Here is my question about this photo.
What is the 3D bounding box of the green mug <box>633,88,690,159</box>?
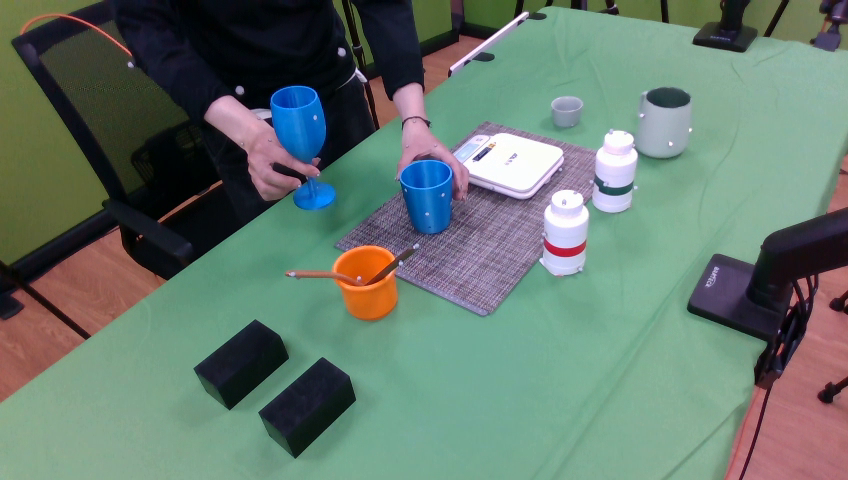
[{"bbox_3d":[0.423,-0.217,1.099,0.093,0.105,0.124,-16,41,-10],"label":"green mug"}]

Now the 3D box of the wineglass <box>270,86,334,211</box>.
[{"bbox_3d":[-0.173,-0.129,0.869,0.074,0.173,0.073,-1,43,2],"label":"wineglass"}]

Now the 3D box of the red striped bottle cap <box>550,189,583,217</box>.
[{"bbox_3d":[0.199,-0.052,0.843,0.044,0.018,0.044,-2,42,2],"label":"red striped bottle cap"}]

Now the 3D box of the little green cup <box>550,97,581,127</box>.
[{"bbox_3d":[0.284,-0.255,1.213,0.061,0.039,0.061,-4,41,4],"label":"little green cup"}]

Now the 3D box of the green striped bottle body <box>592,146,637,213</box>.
[{"bbox_3d":[0.307,-0.108,0.976,0.063,0.120,0.063,-4,41,4],"label":"green striped bottle body"}]

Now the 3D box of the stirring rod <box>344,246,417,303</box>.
[{"bbox_3d":[-0.062,0.050,0.819,0.014,0.175,0.006,-2,64,-41],"label":"stirring rod"}]

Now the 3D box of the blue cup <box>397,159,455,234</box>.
[{"bbox_3d":[0.005,-0.065,0.977,0.092,0.100,0.092,-4,39,3],"label":"blue cup"}]

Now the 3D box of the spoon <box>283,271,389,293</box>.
[{"bbox_3d":[-0.117,0.054,0.825,0.041,0.195,0.021,17,89,38],"label":"spoon"}]

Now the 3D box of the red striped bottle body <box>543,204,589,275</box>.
[{"bbox_3d":[0.206,-0.011,0.878,0.063,0.120,0.062,-4,41,4],"label":"red striped bottle body"}]

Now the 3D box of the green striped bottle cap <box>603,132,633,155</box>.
[{"bbox_3d":[0.302,-0.149,0.939,0.044,0.020,0.044,-3,40,3],"label":"green striped bottle cap"}]

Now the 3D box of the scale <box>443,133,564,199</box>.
[{"bbox_3d":[0.137,-0.142,1.101,0.199,0.032,0.149,22,48,30],"label":"scale"}]
